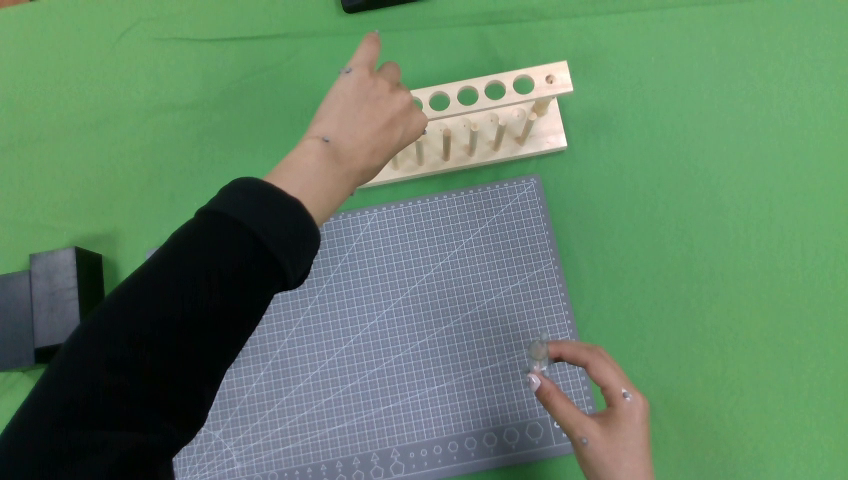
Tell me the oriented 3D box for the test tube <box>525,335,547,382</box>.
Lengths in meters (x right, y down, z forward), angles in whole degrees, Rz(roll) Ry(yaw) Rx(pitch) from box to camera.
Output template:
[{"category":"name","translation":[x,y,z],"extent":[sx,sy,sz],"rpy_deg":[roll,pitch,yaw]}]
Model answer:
[{"category":"test tube","translation":[0.094,0.101,0.503],"extent":[0.017,0.151,0.017],"rpy_deg":[-4,69,10]}]

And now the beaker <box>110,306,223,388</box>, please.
[{"category":"beaker","translation":[-0.250,0.107,0.611],"extent":[0.084,0.100,0.073],"rpy_deg":[-19,79,-2]}]

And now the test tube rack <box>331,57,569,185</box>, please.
[{"category":"test tube rack","translation":[0.031,-0.125,0.653],"extent":[0.242,0.085,0.066],"rpy_deg":[-11,79,0]}]

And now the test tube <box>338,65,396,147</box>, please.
[{"category":"test tube","translation":[-0.049,-0.118,0.552],"extent":[0.017,0.151,0.017],"rpy_deg":[-2,77,10]}]
